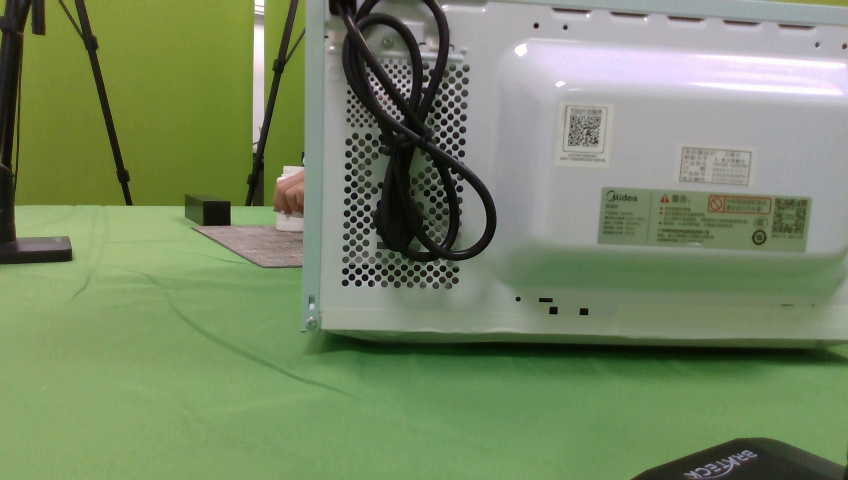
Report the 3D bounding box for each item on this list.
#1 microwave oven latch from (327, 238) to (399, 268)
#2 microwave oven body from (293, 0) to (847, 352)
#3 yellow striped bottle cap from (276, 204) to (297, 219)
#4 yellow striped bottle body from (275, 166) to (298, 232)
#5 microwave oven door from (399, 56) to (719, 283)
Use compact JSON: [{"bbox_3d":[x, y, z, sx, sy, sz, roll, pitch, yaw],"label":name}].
[{"bbox_3d":[-0.069,0.015,0.694,0.079,0.029,0.030,3,7,-3],"label":"microwave oven latch"},{"bbox_3d":[0.122,-0.055,0.550,0.442,0.260,0.325,3,7,-5],"label":"microwave oven body"},{"bbox_3d":[-0.222,-0.047,1.006,0.044,0.018,0.044,13,6,-1],"label":"yellow striped bottle cap"},{"bbox_3d":[-0.244,-0.077,1.127,0.063,0.120,0.063,2,8,0],"label":"yellow striped bottle body"},{"bbox_3d":[0.154,-0.078,0.698,0.356,0.243,0.039,2,8,-5],"label":"microwave oven door"}]
